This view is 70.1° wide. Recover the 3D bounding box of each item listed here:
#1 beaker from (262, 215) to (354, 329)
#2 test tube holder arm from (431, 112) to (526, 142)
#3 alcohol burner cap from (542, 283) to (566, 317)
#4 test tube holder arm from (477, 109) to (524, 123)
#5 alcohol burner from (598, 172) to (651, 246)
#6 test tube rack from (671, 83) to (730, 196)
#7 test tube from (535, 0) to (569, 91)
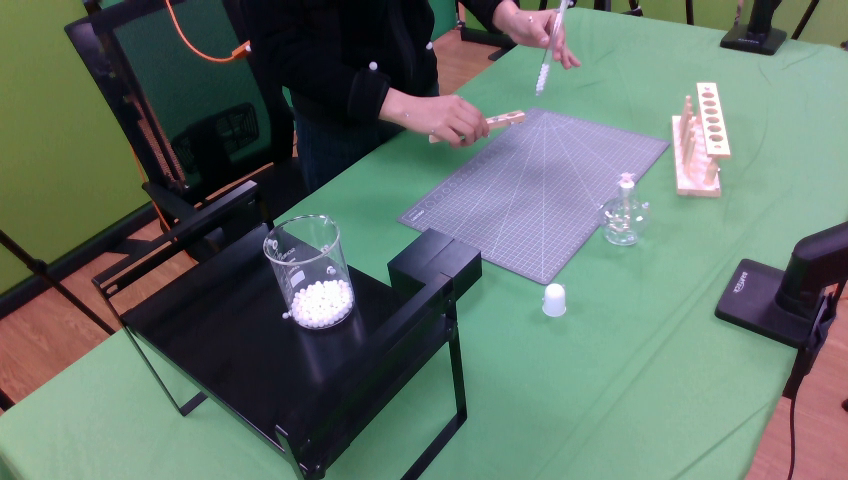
[{"bbox_3d":[-0.112,0.034,0.616,0.073,0.101,0.084,13,44,23],"label":"beaker"},{"bbox_3d":[0.092,-0.190,1.007,0.179,0.015,0.013,-18,40,-21],"label":"test tube holder arm"},{"bbox_3d":[0.181,0.081,0.840,0.034,0.048,0.033,-4,40,3],"label":"alcohol burner cap"},{"bbox_3d":[0.130,-0.206,1.027,0.088,0.015,0.010,-17,39,-20],"label":"test tube holder arm"},{"bbox_3d":[0.306,-0.051,0.918,0.078,0.119,0.077,-6,41,5],"label":"alcohol burner"},{"bbox_3d":[0.482,-0.184,1.067,0.066,0.085,0.242,6,42,15],"label":"test tube rack"},{"bbox_3d":[0.211,-0.321,1.000,0.017,0.150,0.017,12,21,-4],"label":"test tube"}]
